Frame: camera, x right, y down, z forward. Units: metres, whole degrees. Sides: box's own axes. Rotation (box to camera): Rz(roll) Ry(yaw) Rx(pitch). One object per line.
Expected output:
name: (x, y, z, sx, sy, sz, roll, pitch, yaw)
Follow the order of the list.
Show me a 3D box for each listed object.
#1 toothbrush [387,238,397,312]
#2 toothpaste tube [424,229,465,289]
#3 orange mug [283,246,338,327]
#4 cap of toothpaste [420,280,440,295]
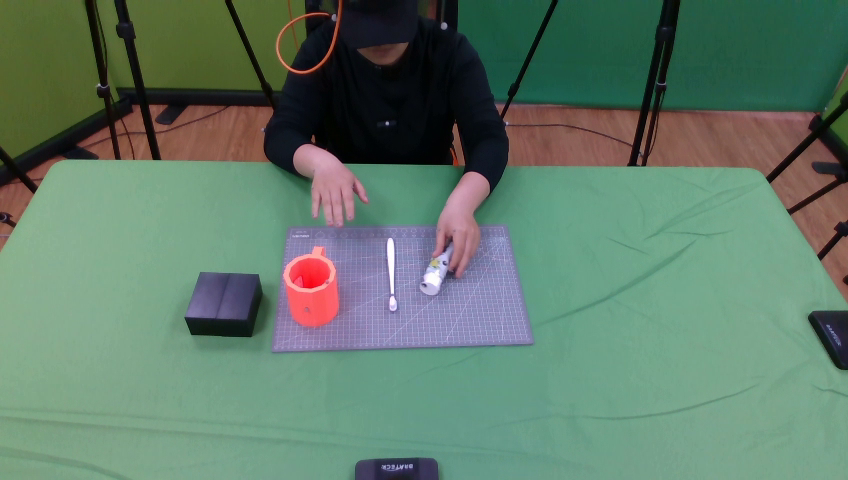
toothbrush: (-0.062, 0.060, 1.136, 0.014, 0.017, 0.180, -9, 45, 4)
toothpaste tube: (0.036, 0.034, 1.155, 0.055, 0.035, 0.164, -4, 40, 25)
orange mug: (-0.193, 0.074, 1.056, 0.083, 0.101, 0.125, 5, 50, 1)
cap of toothpaste: (0.011, 0.085, 1.101, 0.037, 0.037, 0.011, 15, 45, 11)
